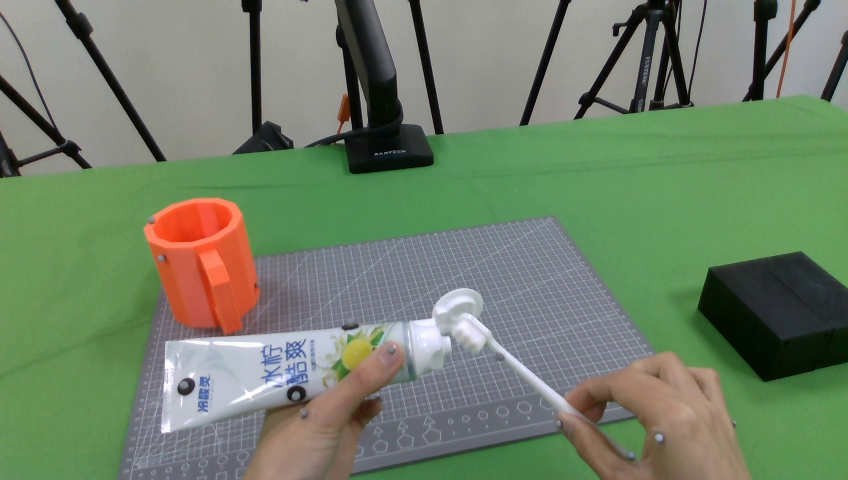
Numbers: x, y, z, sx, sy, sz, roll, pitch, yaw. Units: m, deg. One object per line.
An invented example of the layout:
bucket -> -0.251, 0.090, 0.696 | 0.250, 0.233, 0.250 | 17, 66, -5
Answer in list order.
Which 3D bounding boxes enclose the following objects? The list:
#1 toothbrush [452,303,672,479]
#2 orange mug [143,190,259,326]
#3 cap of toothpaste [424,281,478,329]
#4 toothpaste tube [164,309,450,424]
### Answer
toothbrush -> 0.088, 0.101, 0.362 | 0.182, 0.014, 0.016 | 40, 44, 0
orange mug -> -0.204, 0.021, 0.575 | 0.083, 0.101, 0.125 | -20, 36, -24
cap of toothpaste -> 0.018, 0.042, 0.376 | 0.037, 0.037, 0.011 | -14, 36, -15
toothpaste tube -> -0.067, 0.065, 0.352 | 0.165, 0.035, 0.054 | -8, 58, -5
